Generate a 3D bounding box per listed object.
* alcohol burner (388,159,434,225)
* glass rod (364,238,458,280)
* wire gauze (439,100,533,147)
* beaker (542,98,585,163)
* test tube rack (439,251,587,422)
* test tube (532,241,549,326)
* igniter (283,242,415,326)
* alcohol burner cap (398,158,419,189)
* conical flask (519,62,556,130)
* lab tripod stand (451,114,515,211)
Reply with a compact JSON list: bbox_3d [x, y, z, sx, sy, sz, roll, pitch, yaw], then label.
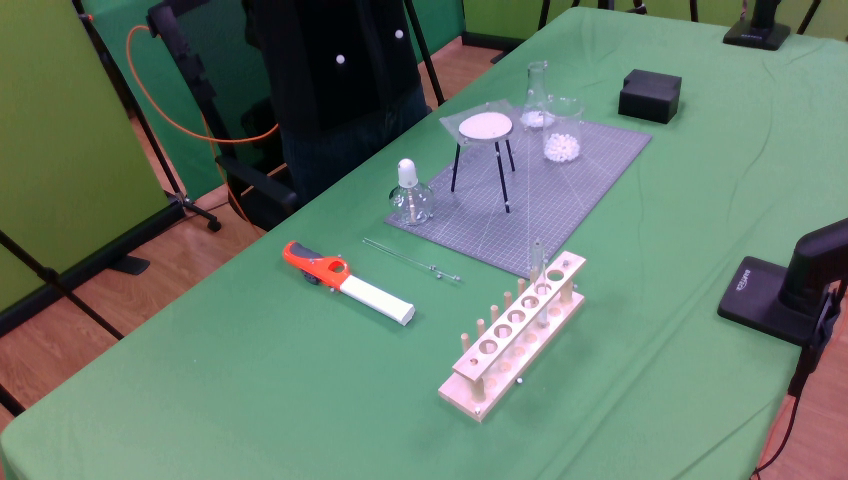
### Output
[{"bbox_3d":[-0.024,-0.084,1.013,0.078,0.119,0.077,-4,38,4],"label":"alcohol burner"},{"bbox_3d":[-0.026,0.029,0.966,0.198,0.008,0.008,21,49,35],"label":"glass rod"},{"bbox_3d":[0.100,-0.190,0.994,0.125,0.011,0.120,-15,39,-7],"label":"wire gauze"},{"bbox_3d":[0.255,-0.200,1.107,0.073,0.101,0.084,9,43,21],"label":"beaker"},{"bbox_3d":[0.118,0.111,0.780,0.066,0.085,0.243,26,51,35],"label":"test tube rack"},{"bbox_3d":[0.147,0.059,0.760,0.017,0.151,0.017,-7,43,7],"label":"test tube"},{"bbox_3d":[-0.126,0.062,0.931,0.274,0.025,0.057,24,60,33],"label":"igniter"},{"bbox_3d":[-0.027,-0.111,0.989,0.034,0.048,0.033,-3,47,4],"label":"alcohol burner cap"},{"bbox_3d":[0.225,-0.287,1.198,0.075,0.122,0.075,-6,40,5],"label":"conical flask"},{"bbox_3d":[0.113,-0.140,1.037,0.148,0.132,0.147,-6,38,5],"label":"lab tripod stand"}]
